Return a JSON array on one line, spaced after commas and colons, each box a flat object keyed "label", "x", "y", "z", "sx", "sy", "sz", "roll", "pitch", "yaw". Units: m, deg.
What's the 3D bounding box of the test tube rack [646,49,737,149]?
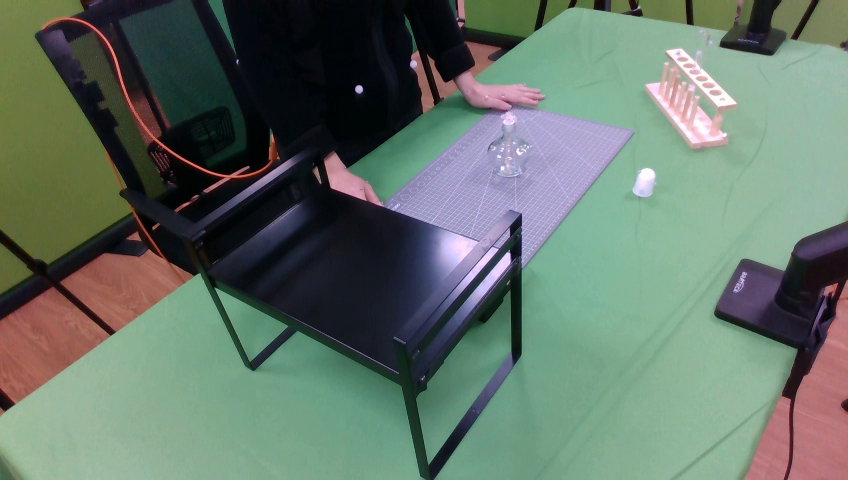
[{"label": "test tube rack", "x": 0.511, "y": -0.280, "z": 1.175, "sx": 0.067, "sy": 0.085, "sz": 0.241, "roll": -8, "pitch": 41, "yaw": 1}]

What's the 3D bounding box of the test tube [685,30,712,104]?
[{"label": "test tube", "x": 0.521, "y": -0.325, "z": 1.150, "sx": 0.017, "sy": 0.151, "sz": 0.017, "roll": -3, "pitch": 45, "yaw": 3}]

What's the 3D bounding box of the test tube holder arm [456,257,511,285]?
[{"label": "test tube holder arm", "x": 0.082, "y": 0.039, "z": 0.845, "sx": 0.087, "sy": 0.015, "sz": 0.010, "roll": 27, "pitch": 85, "yaw": 33}]

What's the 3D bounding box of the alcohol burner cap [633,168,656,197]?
[{"label": "alcohol burner cap", "x": 0.374, "y": -0.099, "z": 1.018, "sx": 0.034, "sy": 0.048, "sz": 0.033, "roll": -1, "pitch": 41, "yaw": 1}]

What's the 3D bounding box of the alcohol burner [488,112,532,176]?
[{"label": "alcohol burner", "x": 0.154, "y": -0.176, "z": 1.084, "sx": 0.078, "sy": 0.119, "sz": 0.077, "roll": -3, "pitch": 41, "yaw": 3}]

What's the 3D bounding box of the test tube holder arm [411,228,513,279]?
[{"label": "test tube holder arm", "x": 0.051, "y": 0.018, "z": 0.870, "sx": 0.177, "sy": 0.015, "sz": 0.013, "roll": 26, "pitch": 84, "yaw": 33}]
